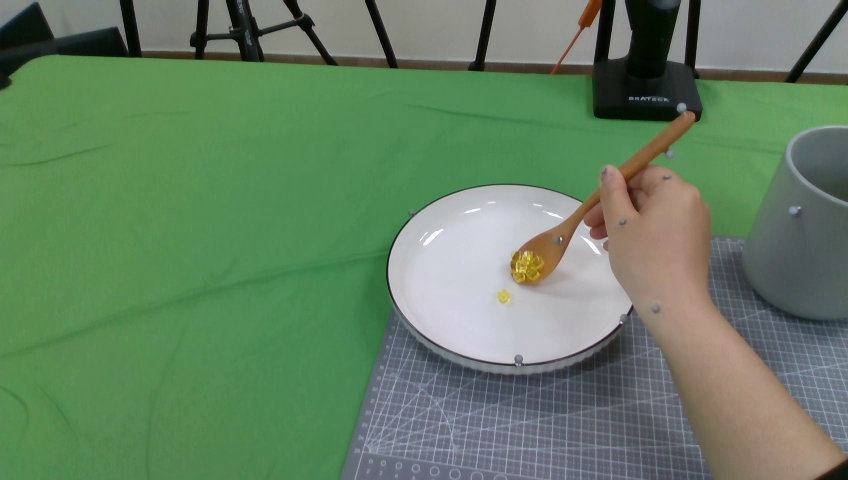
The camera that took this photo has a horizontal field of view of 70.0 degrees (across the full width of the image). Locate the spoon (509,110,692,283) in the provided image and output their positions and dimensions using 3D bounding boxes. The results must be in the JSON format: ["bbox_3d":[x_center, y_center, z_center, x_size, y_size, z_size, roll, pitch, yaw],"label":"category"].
[{"bbox_3d":[0.130,-0.028,0.470,0.022,0.194,0.041,11,47,-29],"label":"spoon"}]

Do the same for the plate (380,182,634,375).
[{"bbox_3d":[0.067,0.030,0.515,0.207,0.039,0.205,-1,45,2],"label":"plate"}]

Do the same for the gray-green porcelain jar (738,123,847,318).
[{"bbox_3d":[0.315,-0.009,0.474,0.106,0.128,0.105,-2,45,2],"label":"gray-green porcelain jar"}]
